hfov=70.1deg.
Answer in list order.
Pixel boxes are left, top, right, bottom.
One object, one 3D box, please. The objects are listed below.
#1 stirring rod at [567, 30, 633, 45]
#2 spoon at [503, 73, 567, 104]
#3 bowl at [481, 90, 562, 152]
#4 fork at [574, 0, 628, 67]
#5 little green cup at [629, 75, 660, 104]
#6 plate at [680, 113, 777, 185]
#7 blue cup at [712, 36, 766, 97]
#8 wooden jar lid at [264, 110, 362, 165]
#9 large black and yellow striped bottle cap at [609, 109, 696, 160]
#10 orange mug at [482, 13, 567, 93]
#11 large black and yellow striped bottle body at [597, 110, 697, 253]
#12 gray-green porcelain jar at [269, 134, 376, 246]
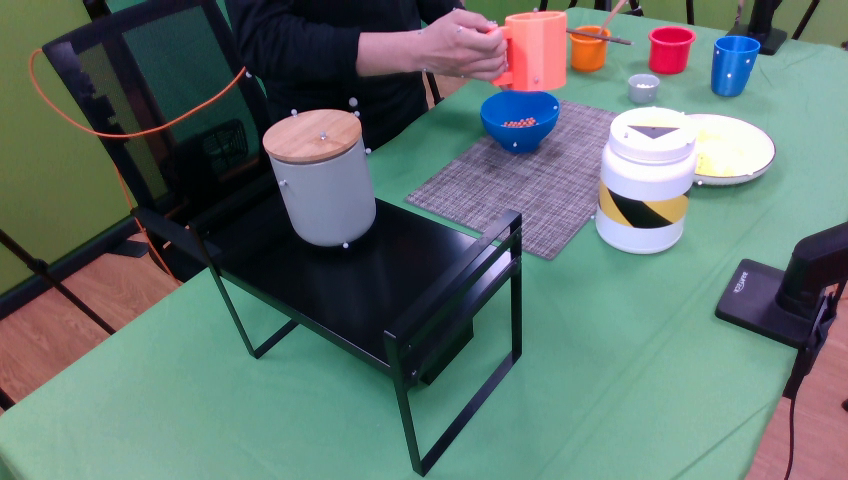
[{"bbox_3d":[0.381,-0.452,1.345,0.174,0.006,0.014,25,49,33],"label":"stirring rod"},{"bbox_3d":[0.250,-0.336,1.332,0.194,0.022,0.041,-32,31,-26],"label":"spoon"},{"bbox_3d":[0.187,-0.222,1.161,0.151,0.077,0.150,-5,39,4],"label":"bowl"},{"bbox_3d":[0.413,-0.481,1.377,0.207,0.019,0.028,-56,43,12],"label":"fork"},{"bbox_3d":[0.457,-0.314,1.260,0.061,0.039,0.061,-4,40,4],"label":"little green cup"},{"bbox_3d":[0.506,-0.158,1.073,0.209,0.038,0.208,-4,40,4],"label":"plate"},{"bbox_3d":[0.627,-0.350,1.227,0.092,0.100,0.092,-4,39,4],"label":"blue cup"},{"bbox_3d":[-0.122,-0.112,0.673,0.108,0.021,0.108,-4,37,4],"label":"wooden jar lid"},{"bbox_3d":[0.319,-0.150,0.849,0.115,0.019,0.114,-4,40,3],"label":"large black and yellow striped bottle cap"},{"bbox_3d":[0.144,-0.266,0.860,0.127,0.101,0.083,-10,27,-16],"label":"orange mug"},{"bbox_3d":[0.331,-0.086,0.904,0.131,0.185,0.130,-5,41,4],"label":"large black and yellow striped bottle body"},{"bbox_3d":[-0.115,-0.064,0.715,0.106,0.127,0.105,-4,40,4],"label":"gray-green porcelain jar"}]
